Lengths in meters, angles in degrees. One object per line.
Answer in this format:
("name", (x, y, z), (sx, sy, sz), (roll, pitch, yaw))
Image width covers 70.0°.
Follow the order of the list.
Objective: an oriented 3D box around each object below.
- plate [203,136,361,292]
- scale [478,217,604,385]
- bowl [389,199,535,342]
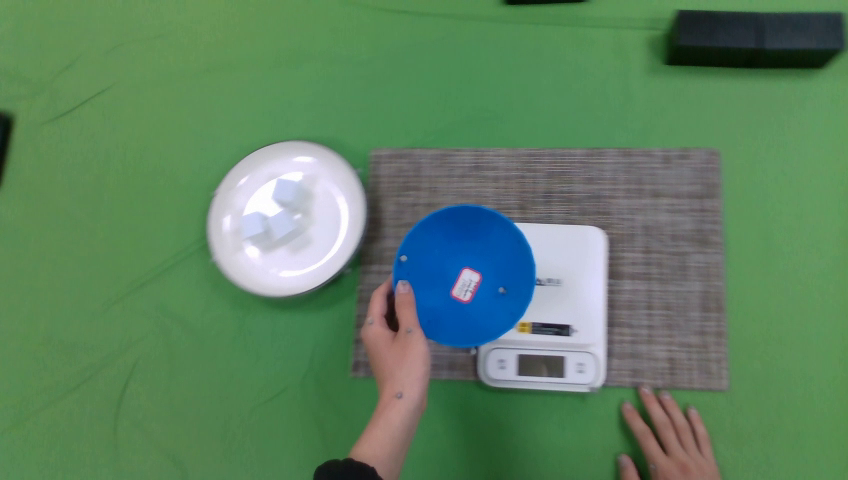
("plate", (-0.182, -0.033, 0.791), (0.207, 0.039, 0.206), (-1, 78, 6))
("scale", (0.141, 0.071, 0.733), (0.148, 0.032, 0.200), (1, 78, 7))
("bowl", (0.043, 0.038, 0.656), (0.151, 0.077, 0.150), (-2, 79, 8))
